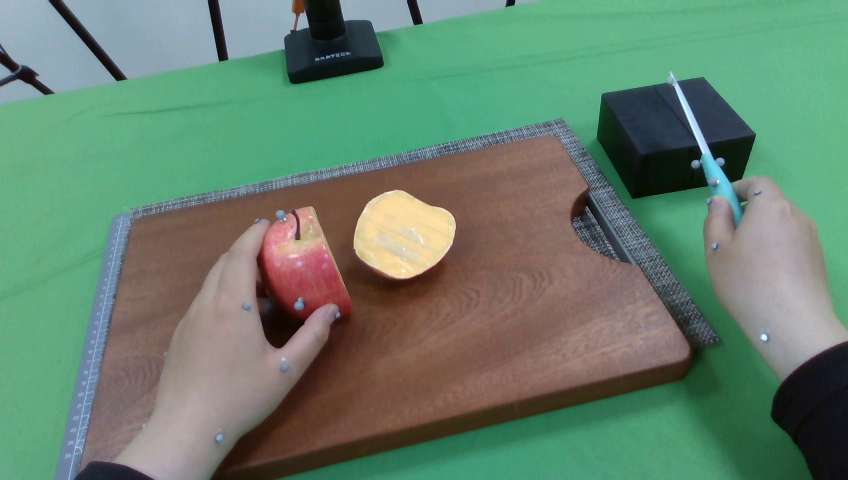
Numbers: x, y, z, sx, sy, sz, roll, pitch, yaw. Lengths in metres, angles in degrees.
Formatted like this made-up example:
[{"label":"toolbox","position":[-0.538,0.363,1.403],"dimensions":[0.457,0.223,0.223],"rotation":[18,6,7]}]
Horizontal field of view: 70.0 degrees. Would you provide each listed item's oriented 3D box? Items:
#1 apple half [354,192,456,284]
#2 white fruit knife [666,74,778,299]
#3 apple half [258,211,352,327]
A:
[{"label":"apple half","position":[-0.017,0.005,0.473],"dimensions":[0.081,0.033,0.080],"rotation":[0,60,1]},{"label":"white fruit knife","position":[0.218,-0.051,0.459],"dimensions":[0.016,0.028,0.205],"rotation":[-33,52,34]},{"label":"apple half","position":[-0.088,0.026,0.433],"dimensions":[0.053,0.075,0.080],"rotation":[-23,49,-8]}]
